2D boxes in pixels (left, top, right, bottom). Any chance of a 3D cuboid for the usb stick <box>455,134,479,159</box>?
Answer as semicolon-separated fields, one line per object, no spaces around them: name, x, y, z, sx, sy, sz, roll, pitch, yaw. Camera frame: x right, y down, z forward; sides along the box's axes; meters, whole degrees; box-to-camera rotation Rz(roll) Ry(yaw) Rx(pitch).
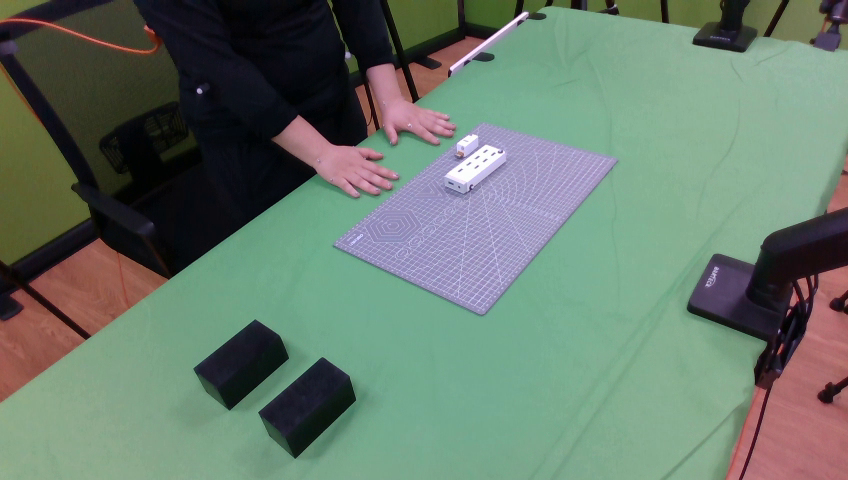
usb stick;0.080;-0.177;1.159;0.021;0.027;0.059;24;52;33

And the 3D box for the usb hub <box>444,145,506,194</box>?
usb hub;0.095;-0.129;1.102;0.049;0.025;0.125;27;51;33
